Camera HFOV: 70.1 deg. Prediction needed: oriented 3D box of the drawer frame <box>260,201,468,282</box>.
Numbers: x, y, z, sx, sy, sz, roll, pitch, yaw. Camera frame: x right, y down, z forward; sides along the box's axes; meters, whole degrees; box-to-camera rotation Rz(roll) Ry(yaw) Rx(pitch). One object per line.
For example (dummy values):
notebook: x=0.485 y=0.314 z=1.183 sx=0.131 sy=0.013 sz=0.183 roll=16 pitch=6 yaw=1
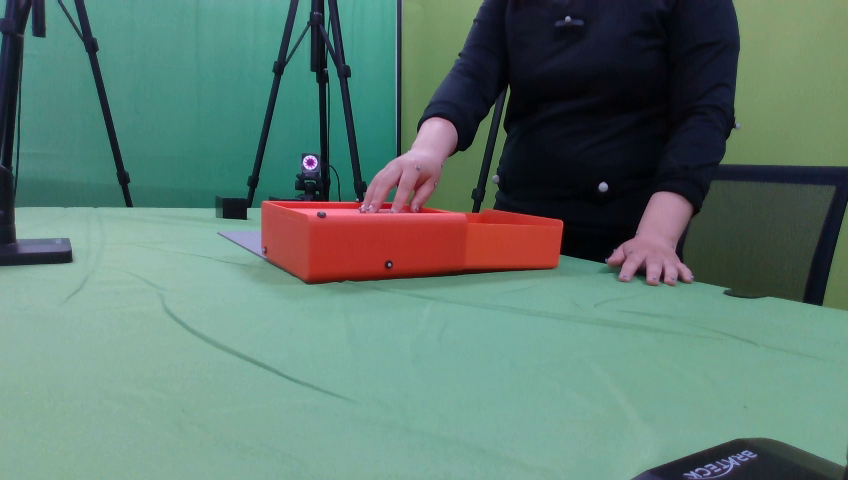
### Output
drawer frame: x=-0.084 y=-0.006 z=0.794 sx=0.215 sy=0.082 sz=0.200 roll=-2 pitch=9 yaw=-30

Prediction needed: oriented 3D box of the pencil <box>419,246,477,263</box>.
pencil: x=0.040 y=0.018 z=0.877 sx=0.012 sy=0.012 sz=0.195 roll=6 pitch=7 yaw=26

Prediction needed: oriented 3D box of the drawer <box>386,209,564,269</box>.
drawer: x=0.058 y=-0.007 z=0.880 sx=0.213 sy=0.073 sz=0.193 roll=1 pitch=8 yaw=-31
